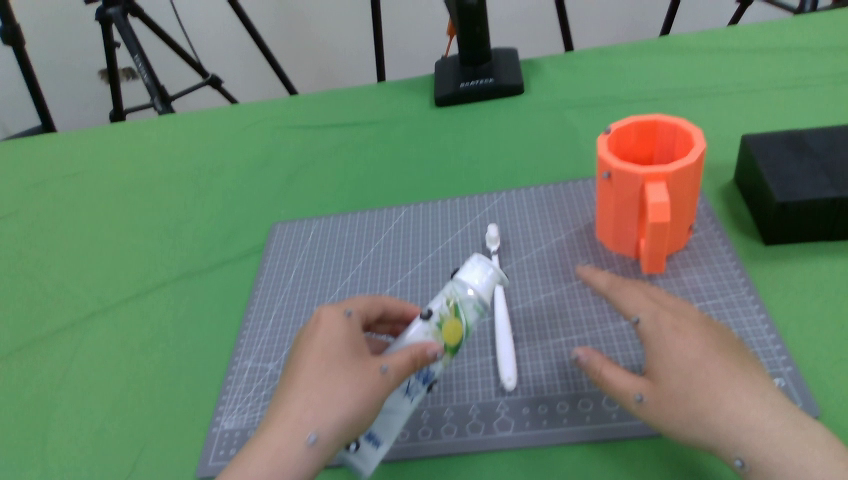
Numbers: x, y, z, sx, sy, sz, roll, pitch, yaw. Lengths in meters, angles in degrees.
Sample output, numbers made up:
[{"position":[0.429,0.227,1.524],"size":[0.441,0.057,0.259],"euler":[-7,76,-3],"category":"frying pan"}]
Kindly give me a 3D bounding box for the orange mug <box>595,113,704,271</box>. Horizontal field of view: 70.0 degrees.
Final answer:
[{"position":[0.193,-0.037,0.525],"size":[0.083,0.102,0.125],"euler":[-2,38,13],"category":"orange mug"}]

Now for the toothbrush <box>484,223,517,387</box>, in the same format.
[{"position":[0.066,0.048,0.526],"size":[0.014,0.017,0.180],"euler":[2,43,-1],"category":"toothbrush"}]

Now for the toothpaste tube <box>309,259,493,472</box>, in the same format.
[{"position":[-0.006,0.078,0.422],"size":[0.055,0.034,0.165],"euler":[41,77,-5],"category":"toothpaste tube"}]

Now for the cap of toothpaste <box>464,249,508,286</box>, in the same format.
[{"position":[0.045,0.022,0.440],"size":[0.037,0.038,0.011],"euler":[30,73,38],"category":"cap of toothpaste"}]
